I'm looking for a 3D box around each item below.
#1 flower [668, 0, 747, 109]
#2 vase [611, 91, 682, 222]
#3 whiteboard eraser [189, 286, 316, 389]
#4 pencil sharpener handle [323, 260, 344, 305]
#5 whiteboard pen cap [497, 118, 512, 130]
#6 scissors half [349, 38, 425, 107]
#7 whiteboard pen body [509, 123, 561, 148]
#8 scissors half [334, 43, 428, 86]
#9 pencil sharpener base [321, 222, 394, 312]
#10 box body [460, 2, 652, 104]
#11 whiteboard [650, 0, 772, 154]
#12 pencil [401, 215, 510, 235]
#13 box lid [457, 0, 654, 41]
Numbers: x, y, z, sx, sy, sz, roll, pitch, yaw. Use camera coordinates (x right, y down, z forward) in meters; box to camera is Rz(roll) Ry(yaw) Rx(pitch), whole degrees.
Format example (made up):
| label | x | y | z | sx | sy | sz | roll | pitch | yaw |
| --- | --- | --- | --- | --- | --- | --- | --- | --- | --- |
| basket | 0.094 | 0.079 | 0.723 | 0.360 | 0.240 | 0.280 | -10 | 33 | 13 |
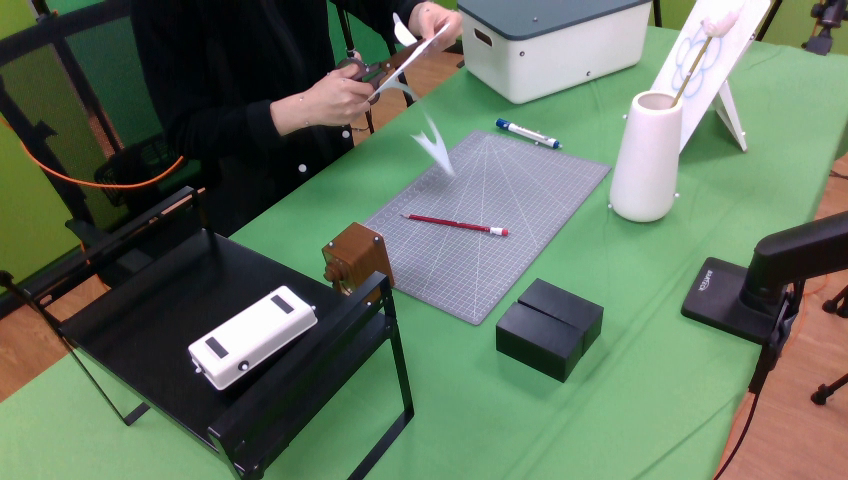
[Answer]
| label | x | y | z | sx | sy | sz | roll | pitch | yaw |
| --- | --- | --- | --- | --- | --- | --- | --- | --- | --- |
| flower | 0.355 | -0.187 | 0.879 | 0.038 | 0.362 | 0.044 | 30 | 48 | 14 |
| vase | 0.348 | -0.125 | 0.935 | 0.098 | 0.201 | 0.097 | -3 | 40 | 3 |
| whiteboard eraser | -0.166 | 0.096 | 0.593 | 0.113 | 0.042 | 0.055 | -36 | 47 | -29 |
| pencil sharpener handle | -0.131 | 0.062 | 0.839 | 0.035 | 0.068 | 0.031 | 29 | 55 | 28 |
| whiteboard pen cap | 0.165 | -0.235 | 1.227 | 0.033 | 0.018 | 0.018 | 31 | 53 | 31 |
| scissors half | -0.056 | -0.255 | 0.923 | 0.174 | 0.040 | 0.013 | -33 | 17 | 41 |
| whiteboard pen body | 0.209 | -0.211 | 1.196 | 0.139 | 0.017 | 0.017 | 30 | 52 | 33 |
| scissors half | -0.068 | -0.271 | 0.915 | 0.174 | 0.040 | 0.013 | -8 | 38 | 30 |
| pencil sharpener base | -0.096 | 0.041 | 0.873 | 0.061 | 0.107 | 0.077 | 25 | 54 | 32 |
| box body | 0.291 | -0.465 | 1.371 | 0.365 | 0.161 | 0.252 | -22 | 42 | -16 |
| whiteboard | 0.543 | -0.298 | 1.076 | 0.144 | 0.305 | 0.216 | 12 | 40 | -7 |
| pencil | 0.049 | -0.027 | 1.007 | 0.193 | 0.012 | 0.012 | 10 | 43 | 21 |
| box lid | 0.285 | -0.522 | 1.323 | 0.373 | 0.015 | 0.261 | -22 | 43 | -16 |
